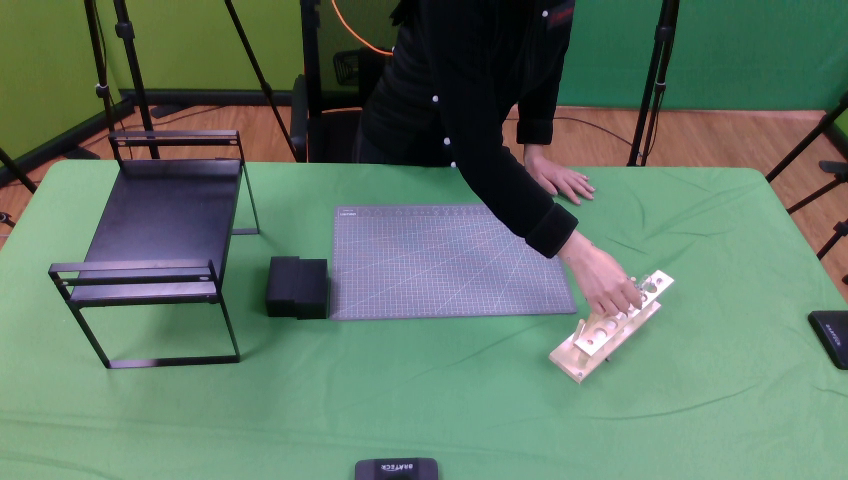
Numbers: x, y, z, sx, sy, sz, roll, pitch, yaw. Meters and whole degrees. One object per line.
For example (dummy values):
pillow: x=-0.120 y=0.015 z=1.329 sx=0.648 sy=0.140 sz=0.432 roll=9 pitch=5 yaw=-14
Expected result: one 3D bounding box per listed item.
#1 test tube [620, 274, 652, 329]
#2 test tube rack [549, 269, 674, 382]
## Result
test tube: x=0.348 y=0.105 z=1.008 sx=0.017 sy=0.151 sz=0.017 roll=1 pitch=51 yaw=-1
test tube rack: x=0.325 y=0.135 z=1.047 sx=0.242 sy=0.085 sz=0.066 roll=-32 pitch=56 yaw=-30
